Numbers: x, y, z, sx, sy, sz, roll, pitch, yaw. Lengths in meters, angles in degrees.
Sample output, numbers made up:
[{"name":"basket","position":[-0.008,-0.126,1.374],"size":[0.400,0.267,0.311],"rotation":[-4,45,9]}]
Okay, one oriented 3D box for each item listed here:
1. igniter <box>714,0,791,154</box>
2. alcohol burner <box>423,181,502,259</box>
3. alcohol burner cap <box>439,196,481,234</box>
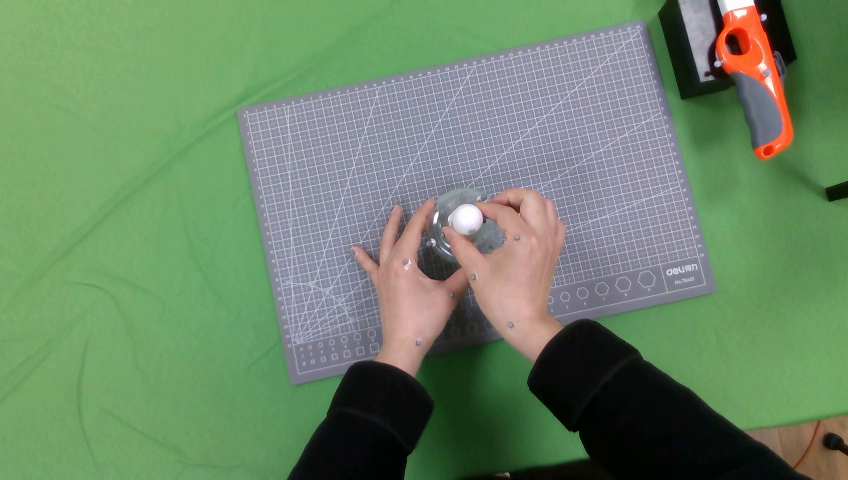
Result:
[{"name":"igniter","position":[0.307,-0.218,0.592],"size":[0.057,0.025,0.275],"rotation":[-11,83,1]},{"name":"alcohol burner","position":[0.037,-0.021,0.580],"size":[0.078,0.119,0.078],"rotation":[0,87,2]},{"name":"alcohol burner cap","position":[0.035,-0.024,0.549],"size":[0.034,0.048,0.034],"rotation":[1,86,-14]}]
